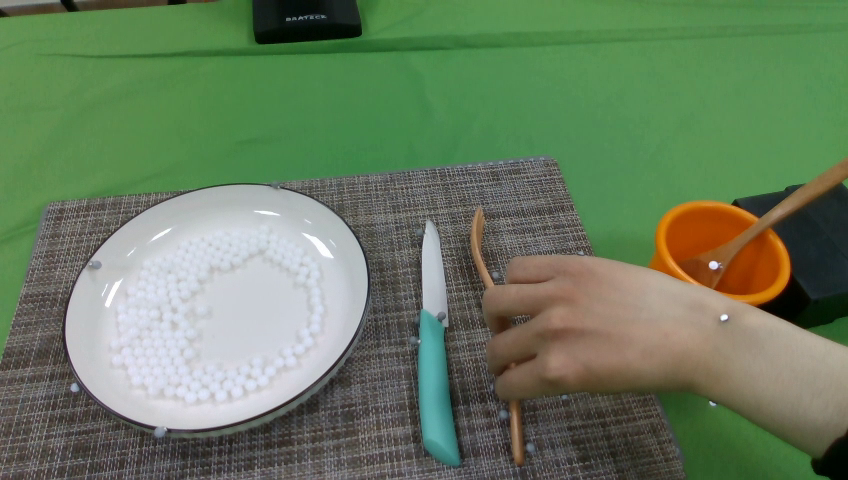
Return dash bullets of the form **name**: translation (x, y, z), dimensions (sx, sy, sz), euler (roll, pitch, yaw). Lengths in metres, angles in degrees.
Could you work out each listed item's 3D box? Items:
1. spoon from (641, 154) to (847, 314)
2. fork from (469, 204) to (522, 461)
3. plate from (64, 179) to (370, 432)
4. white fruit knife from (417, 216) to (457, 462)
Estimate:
- **spoon**: translation (0.241, -0.009, 0.434), dimensions (0.022, 0.194, 0.041), euler (23, 33, -44)
- **fork**: translation (0.052, 0.058, 0.447), dimensions (0.018, 0.028, 0.205), euler (-13, 54, 5)
- **plate**: translation (-0.142, 0.042, 0.440), dimensions (0.209, 0.038, 0.207), euler (1, 51, -1)
- **white fruit knife**: translation (0.006, 0.060, 0.449), dimensions (0.027, 0.016, 0.205), euler (21, 44, -25)
